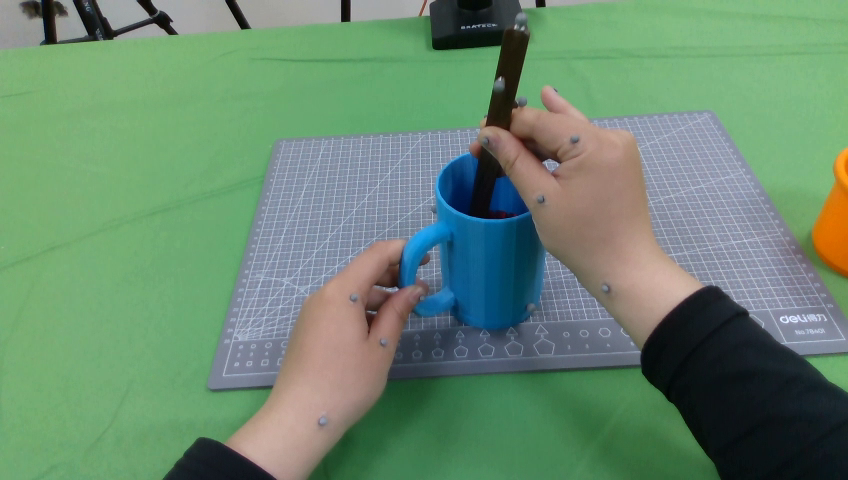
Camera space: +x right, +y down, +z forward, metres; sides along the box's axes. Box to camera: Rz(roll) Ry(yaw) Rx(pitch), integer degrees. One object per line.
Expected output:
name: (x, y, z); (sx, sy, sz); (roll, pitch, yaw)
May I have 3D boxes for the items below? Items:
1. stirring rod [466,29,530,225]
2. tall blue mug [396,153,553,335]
stirring rod: (0.040, -0.050, 0.372); (0.014, 0.177, 0.006); (16, 52, 7)
tall blue mug: (0.039, 0.014, 0.419); (0.077, 0.109, 0.107); (20, 49, 23)
